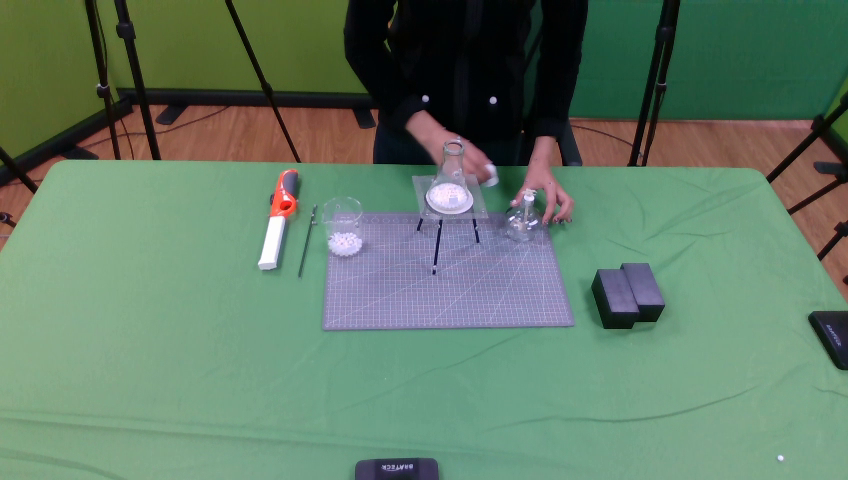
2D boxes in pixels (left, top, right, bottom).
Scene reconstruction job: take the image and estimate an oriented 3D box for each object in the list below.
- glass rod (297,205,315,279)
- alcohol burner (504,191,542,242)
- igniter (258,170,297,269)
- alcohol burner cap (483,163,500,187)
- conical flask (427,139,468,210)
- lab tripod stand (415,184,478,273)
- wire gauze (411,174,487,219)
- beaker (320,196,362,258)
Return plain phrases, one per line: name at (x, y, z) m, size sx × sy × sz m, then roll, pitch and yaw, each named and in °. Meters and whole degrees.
glass rod at (-0.231, 0.000, 1.191) m, size 0.008 × 0.008 × 0.198 m, roll 2°, pitch 46°, yaw -1°
alcohol burner at (0.199, -0.053, 1.200) m, size 0.078 × 0.120 × 0.077 m, roll 2°, pitch 48°, yaw -2°
igniter at (-0.294, -0.050, 1.221) m, size 0.057 × 0.025 × 0.274 m, roll -5°, pitch 45°, yaw 4°
alcohol burner cap at (0.135, -0.135, 1.235) m, size 0.034 × 0.048 × 0.033 m, roll -7°, pitch 54°, yaw 10°
conical flask at (0.046, -0.117, 1.061) m, size 0.075 × 0.122 × 0.075 m, roll 3°, pitch 46°, yaw -2°
lab tripod stand at (0.042, -0.031, 1.152) m, size 0.148 × 0.132 × 0.147 m, roll 3°, pitch 44°, yaw -3°
wire gauze at (0.044, -0.079, 1.107) m, size 0.125 × 0.011 × 0.120 m, roll -4°, pitch 44°, yaw -6°
beaker at (-0.156, -0.021, 1.150) m, size 0.084 × 0.101 × 0.073 m, roll -30°, pitch 55°, yaw -28°
